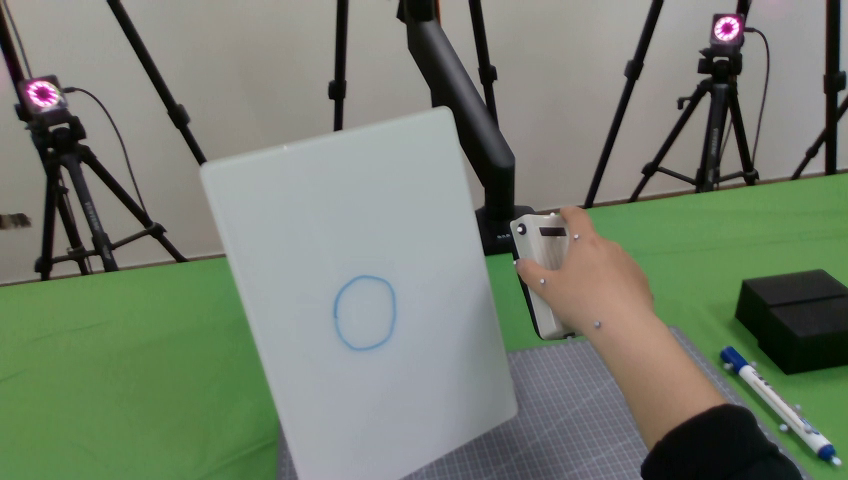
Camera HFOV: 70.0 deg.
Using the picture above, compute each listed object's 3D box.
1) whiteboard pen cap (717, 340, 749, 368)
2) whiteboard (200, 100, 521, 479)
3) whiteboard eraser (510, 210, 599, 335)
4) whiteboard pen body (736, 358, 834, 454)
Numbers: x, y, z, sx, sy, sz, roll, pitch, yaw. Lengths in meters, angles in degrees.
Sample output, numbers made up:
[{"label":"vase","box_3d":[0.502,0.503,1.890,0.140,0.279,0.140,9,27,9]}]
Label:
[{"label":"whiteboard pen cap","box_3d":[0.324,0.120,0.633,0.018,0.018,0.033,-9,29,-10]},{"label":"whiteboard","box_3d":[-0.063,0.049,0.567,0.218,0.306,0.143,-20,14,-25]},{"label":"whiteboard eraser","box_3d":[0.114,0.029,0.545,0.056,0.042,0.112,-2,70,-28]},{"label":"whiteboard pen body","box_3d":[0.337,0.149,0.584,0.017,0.017,0.139,-9,30,-9]}]
